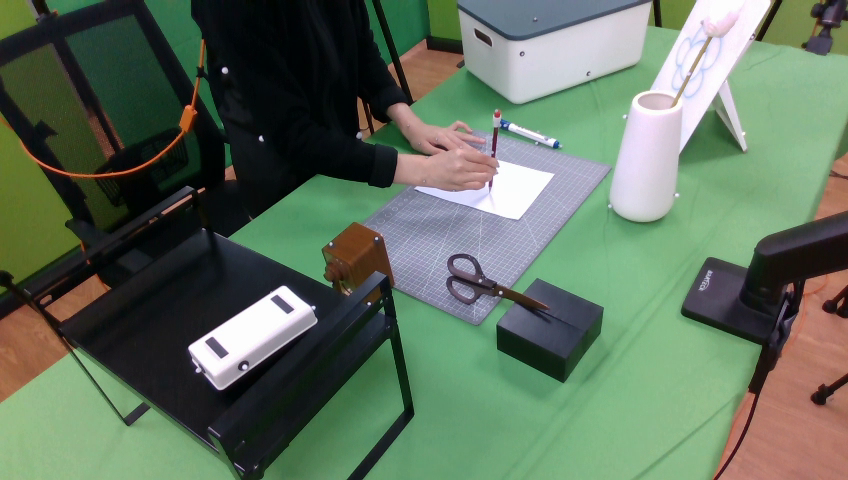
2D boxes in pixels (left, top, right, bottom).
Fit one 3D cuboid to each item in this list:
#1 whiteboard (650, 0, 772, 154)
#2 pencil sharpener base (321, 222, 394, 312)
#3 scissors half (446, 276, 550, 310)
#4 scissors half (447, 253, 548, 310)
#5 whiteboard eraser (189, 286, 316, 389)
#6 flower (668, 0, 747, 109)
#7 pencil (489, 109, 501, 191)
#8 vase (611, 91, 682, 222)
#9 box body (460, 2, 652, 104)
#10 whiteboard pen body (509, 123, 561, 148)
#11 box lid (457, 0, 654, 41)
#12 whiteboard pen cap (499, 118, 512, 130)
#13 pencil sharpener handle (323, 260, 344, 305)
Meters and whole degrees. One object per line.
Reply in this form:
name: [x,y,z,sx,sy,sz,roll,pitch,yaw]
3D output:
whiteboard: [0.543,-0.298,1.076,0.144,0.305,0.216,12,40,-7]
pencil sharpener base: [-0.096,0.041,0.873,0.061,0.107,0.077,25,54,32]
scissors half: [0.098,0.077,0.827,0.174,0.040,0.013,6,13,44]
scissors half: [0.098,0.058,0.821,0.173,0.040,0.013,27,32,36]
whiteboard eraser: [-0.166,0.096,0.593,0.113,0.042,0.055,-36,47,-29]
flower: [0.354,-0.187,0.879,0.038,0.362,0.044,30,48,14]
pencil: [0.114,-0.141,0.988,0.012,0.195,0.012,-1,57,2]
vase: [0.348,-0.125,0.935,0.098,0.201,0.097,-3,40,3]
box body: [0.291,-0.465,1.371,0.365,0.161,0.252,-22,42,-16]
whiteboard pen body: [0.209,-0.211,1.196,0.139,0.017,0.017,30,52,33]
box lid: [0.285,-0.522,1.323,0.373,0.015,0.261,-22,43,-16]
whiteboard pen cap: [0.165,-0.235,1.227,0.033,0.018,0.018,31,53,31]
pencil sharpener handle: [-0.131,0.062,0.839,0.035,0.068,0.031,29,55,28]
